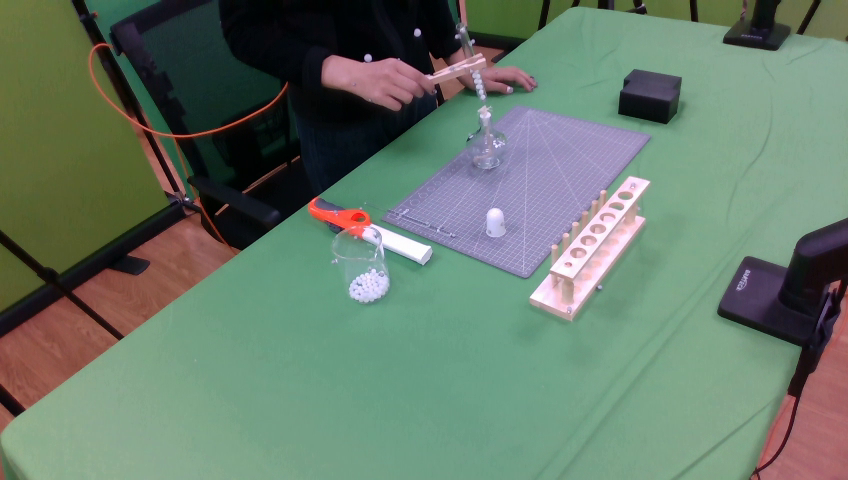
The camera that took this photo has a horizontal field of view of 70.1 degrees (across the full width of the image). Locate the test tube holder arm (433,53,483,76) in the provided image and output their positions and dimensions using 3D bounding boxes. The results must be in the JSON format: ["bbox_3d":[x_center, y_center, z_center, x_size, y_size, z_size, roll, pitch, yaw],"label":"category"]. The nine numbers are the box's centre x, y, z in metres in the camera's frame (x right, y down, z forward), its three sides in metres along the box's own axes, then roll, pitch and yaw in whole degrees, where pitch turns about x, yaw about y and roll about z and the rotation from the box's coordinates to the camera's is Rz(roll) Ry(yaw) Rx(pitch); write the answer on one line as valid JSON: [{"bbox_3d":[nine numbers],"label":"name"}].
[{"bbox_3d":[0.057,-0.285,1.000,0.088,0.015,0.010,-24,49,-4],"label":"test tube holder arm"}]

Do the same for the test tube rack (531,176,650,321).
[{"bbox_3d":[0.246,0.002,0.884,0.066,0.085,0.243,22,49,32],"label":"test tube rack"}]

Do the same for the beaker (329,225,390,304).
[{"bbox_3d":[-0.089,0.040,0.890,0.074,0.101,0.083,-32,46,-24],"label":"beaker"}]

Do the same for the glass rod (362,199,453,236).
[{"bbox_3d":[-0.031,-0.041,1.041,0.198,0.008,0.008,22,50,31],"label":"glass rod"}]

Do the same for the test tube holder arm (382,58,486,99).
[{"bbox_3d":[0.016,-0.266,0.996,0.178,0.015,0.013,-18,48,1],"label":"test tube holder arm"}]

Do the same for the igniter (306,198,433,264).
[{"bbox_3d":[-0.102,-0.020,1.019,0.274,0.025,0.057,22,59,32],"label":"igniter"}]

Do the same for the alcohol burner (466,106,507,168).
[{"bbox_3d":[0.114,-0.193,1.112,0.078,0.119,0.077,-4,41,4],"label":"alcohol burner"}]

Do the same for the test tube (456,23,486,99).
[{"bbox_3d":[0.080,-0.291,0.997,0.017,0.151,0.017,-11,51,15],"label":"test tube"}]

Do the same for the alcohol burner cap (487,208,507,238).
[{"bbox_3d":[0.116,-0.030,0.975,0.034,0.048,0.033,-6,40,5],"label":"alcohol burner cap"}]
